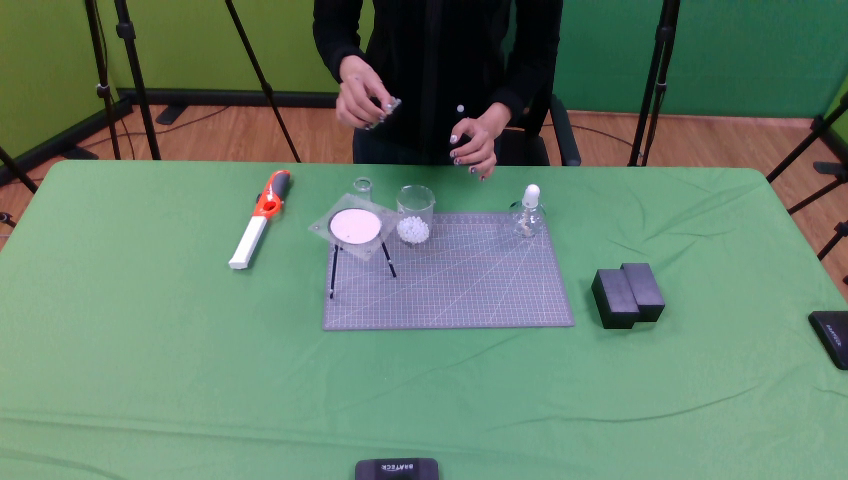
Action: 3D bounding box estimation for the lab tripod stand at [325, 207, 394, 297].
[{"bbox_3d":[-0.124,0.017,1.092,0.148,0.132,0.147,3,44,-3],"label":"lab tripod stand"}]

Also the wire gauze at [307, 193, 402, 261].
[{"bbox_3d":[-0.118,-0.028,1.043,0.125,0.011,0.121,24,47,17],"label":"wire gauze"}]

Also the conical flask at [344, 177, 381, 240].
[{"bbox_3d":[-0.121,-0.065,1.180,0.075,0.122,0.075,2,46,-2],"label":"conical flask"}]

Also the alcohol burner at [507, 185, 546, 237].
[{"bbox_3d":[0.208,-0.063,1.210,0.078,0.119,0.077,3,44,-3],"label":"alcohol burner"}]

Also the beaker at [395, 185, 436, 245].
[{"bbox_3d":[-0.022,-0.048,1.187,0.074,0.101,0.083,-28,53,-28],"label":"beaker"}]

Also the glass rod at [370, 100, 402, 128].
[{"bbox_3d":[-0.067,-0.213,1.030,0.008,0.199,0.008,-15,94,-18],"label":"glass rod"}]

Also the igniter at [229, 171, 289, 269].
[{"bbox_3d":[-0.328,-0.049,1.218,0.057,0.025,0.275,1,45,11],"label":"igniter"}]

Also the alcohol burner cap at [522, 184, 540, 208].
[{"bbox_3d":[0.210,-0.087,1.183,0.034,0.048,0.033,0,53,0],"label":"alcohol burner cap"}]
